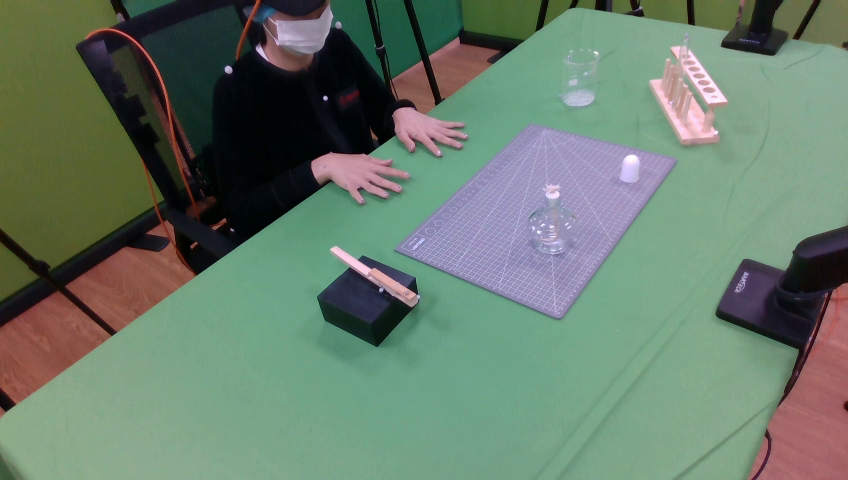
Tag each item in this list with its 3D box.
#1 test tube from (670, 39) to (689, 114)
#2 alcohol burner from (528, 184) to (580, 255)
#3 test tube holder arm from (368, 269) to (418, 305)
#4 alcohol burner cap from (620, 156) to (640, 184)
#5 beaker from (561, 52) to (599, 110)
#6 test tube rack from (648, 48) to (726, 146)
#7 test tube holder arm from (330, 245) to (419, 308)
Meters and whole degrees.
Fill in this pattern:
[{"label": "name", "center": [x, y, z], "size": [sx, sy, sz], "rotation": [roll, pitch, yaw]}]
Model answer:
[{"label": "test tube", "center": [0.484, -0.308, 1.146], "size": [0.017, 0.151, 0.017], "rotation": [-5, 41, 5]}, {"label": "alcohol burner", "center": [0.196, -0.035, 0.911], "size": [0.078, 0.119, 0.077], "rotation": [-6, 41, 5]}, {"label": "test tube holder arm", "center": [-0.043, 0.063, 0.827], "size": [0.015, 0.010, 0.087], "rotation": [-37, 47, -29]}, {"label": "alcohol burner cap", "center": [0.358, -0.124, 1.047], "size": [0.034, 0.048, 0.033], "rotation": [-4, 40, 4]}, {"label": "beaker", "center": [0.325, -0.331, 1.260], "size": [0.084, 0.101, 0.073], "rotation": [-20, 42, -15]}, {"label": "test tube rack", "center": [0.509, -0.285, 1.186], "size": [0.067, 0.085, 0.241], "rotation": [-4, 40, 6]}, {"label": "test tube holder arm", "center": [-0.074, 0.049, 0.857], "size": [0.177, 0.013, 0.015], "rotation": [29, 53, 36]}]
